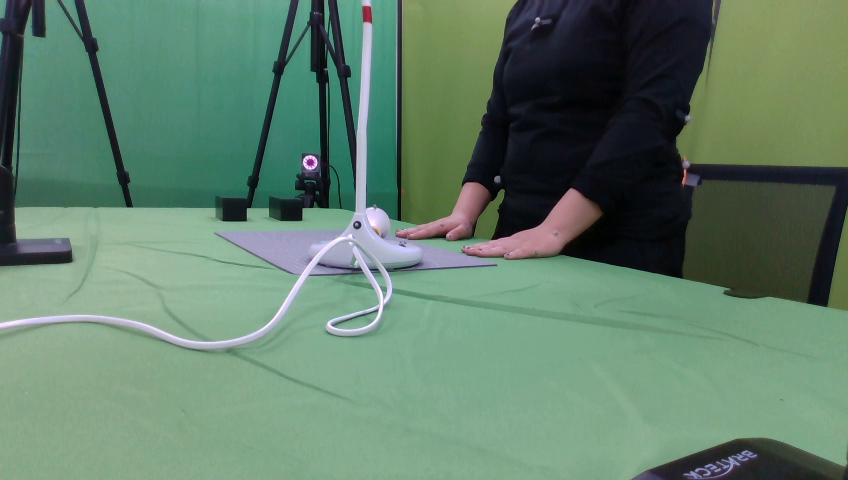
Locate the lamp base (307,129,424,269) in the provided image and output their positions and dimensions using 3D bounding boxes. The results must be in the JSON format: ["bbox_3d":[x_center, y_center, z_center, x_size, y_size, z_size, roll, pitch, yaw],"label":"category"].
[{"bbox_3d":[-0.077,-0.057,0.811,0.161,0.180,0.179,2,10,-4],"label":"lamp base"}]

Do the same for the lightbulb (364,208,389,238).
[{"bbox_3d":[-0.089,-0.017,1.019,0.059,0.059,0.107,3,23,-2],"label":"lightbulb"}]
